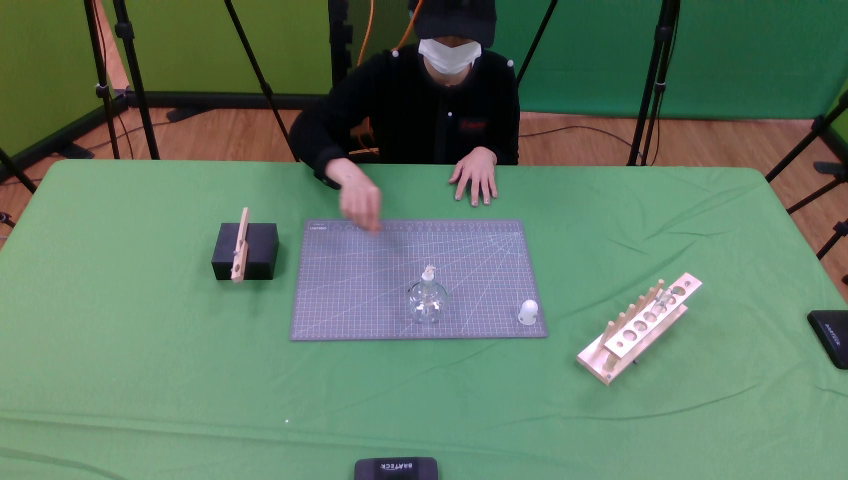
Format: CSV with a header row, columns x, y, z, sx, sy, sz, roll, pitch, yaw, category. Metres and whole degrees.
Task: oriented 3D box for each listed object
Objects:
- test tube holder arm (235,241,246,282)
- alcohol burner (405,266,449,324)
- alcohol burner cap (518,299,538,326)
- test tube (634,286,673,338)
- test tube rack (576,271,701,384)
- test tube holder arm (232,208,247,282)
x,y,z,sx,sy,sz,roll,pitch,yaw,category
-0.323,0.037,1.071,0.010,0.015,0.087,-9,46,-2,test tube holder arm
0.005,0.089,1.043,0.078,0.120,0.077,1,44,-1,alcohol burner
0.186,0.126,1.072,0.034,0.048,0.033,1,45,-1,alcohol burner cap
0.374,0.123,0.993,0.017,0.151,0.017,2,52,-2,test tube
0.373,0.138,1.047,0.242,0.085,0.066,-31,56,-29,test tube rack
-0.335,0.006,1.102,0.013,0.015,0.177,-9,46,-2,test tube holder arm
